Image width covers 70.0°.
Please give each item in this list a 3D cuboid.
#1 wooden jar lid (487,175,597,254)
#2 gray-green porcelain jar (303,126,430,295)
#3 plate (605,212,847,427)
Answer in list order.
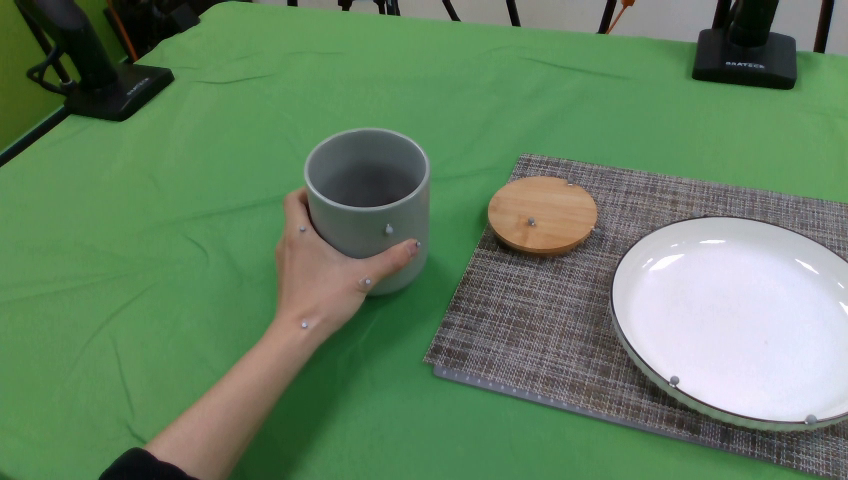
[{"bbox_3d":[0.118,-0.025,0.609,0.108,0.021,0.107,-3,45,3],"label":"wooden jar lid"},{"bbox_3d":[-0.048,-0.021,0.547,0.106,0.127,0.105,1,48,-1],"label":"gray-green porcelain jar"},{"bbox_3d":[0.254,0.061,0.493,0.207,0.039,0.205,-4,46,4],"label":"plate"}]
